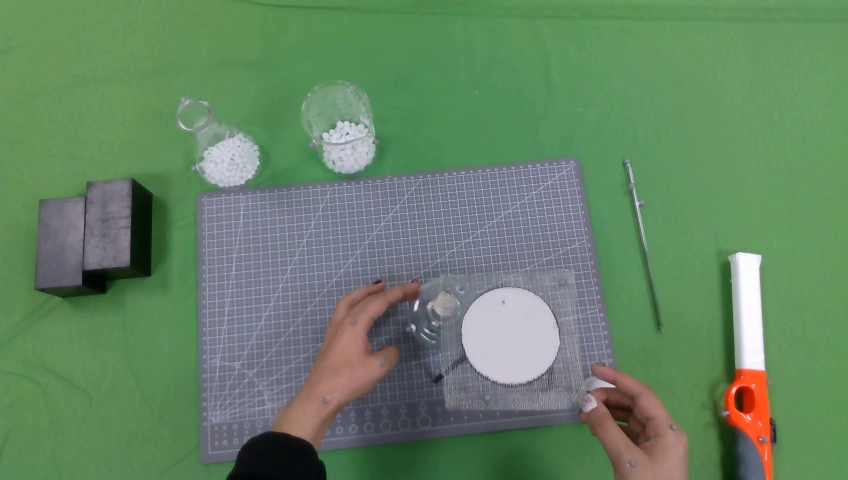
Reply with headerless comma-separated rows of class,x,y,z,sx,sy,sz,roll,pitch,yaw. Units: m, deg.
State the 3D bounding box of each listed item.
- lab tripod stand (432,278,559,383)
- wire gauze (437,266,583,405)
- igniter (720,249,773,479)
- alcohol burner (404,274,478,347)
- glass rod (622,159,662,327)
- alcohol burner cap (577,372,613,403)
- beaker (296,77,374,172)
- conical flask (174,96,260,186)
lab tripod stand,0.073,0.100,0.600,0.148,0.132,0.147,0,77,0
wire gauze,0.075,0.084,0.535,0.125,0.011,0.121,-1,77,1
igniter,0.343,0.145,0.648,0.057,0.025,0.275,8,76,-9
alcohol burner,0.017,0.070,0.618,0.078,0.119,0.077,0,77,2
glass rod,0.249,0.000,0.693,0.008,0.008,0.198,-6,75,-2
alcohol burner cap,0.182,0.154,0.634,0.034,0.048,0.033,0,76,0
beaker,-0.092,-0.123,0.676,0.084,0.100,0.074,29,78,6
conical flask,-0.230,-0.112,0.660,0.075,0.122,0.075,0,75,0
